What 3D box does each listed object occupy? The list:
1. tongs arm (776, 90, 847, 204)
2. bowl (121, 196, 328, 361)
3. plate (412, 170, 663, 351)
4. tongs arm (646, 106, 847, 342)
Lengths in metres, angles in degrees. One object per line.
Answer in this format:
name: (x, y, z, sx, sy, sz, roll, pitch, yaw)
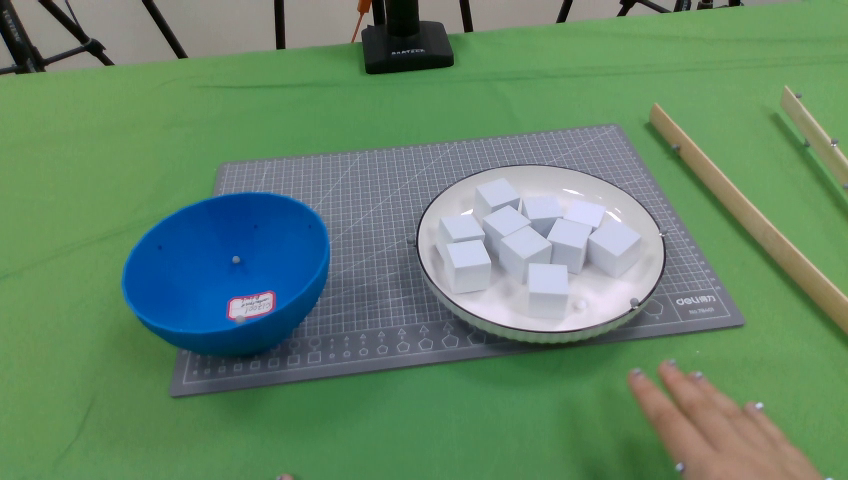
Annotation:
tongs arm: (0.387, -0.029, 0.559, 0.051, 0.027, 0.381, -2, 44, 1)
bowl: (-0.145, 0.041, 0.476, 0.151, 0.077, 0.150, -1, 43, 2)
plate: (0.094, 0.015, 0.522, 0.207, 0.039, 0.205, -1, 43, 2)
tongs arm: (0.305, -0.019, 0.557, 0.028, 0.028, 0.383, -9, 43, -11)
